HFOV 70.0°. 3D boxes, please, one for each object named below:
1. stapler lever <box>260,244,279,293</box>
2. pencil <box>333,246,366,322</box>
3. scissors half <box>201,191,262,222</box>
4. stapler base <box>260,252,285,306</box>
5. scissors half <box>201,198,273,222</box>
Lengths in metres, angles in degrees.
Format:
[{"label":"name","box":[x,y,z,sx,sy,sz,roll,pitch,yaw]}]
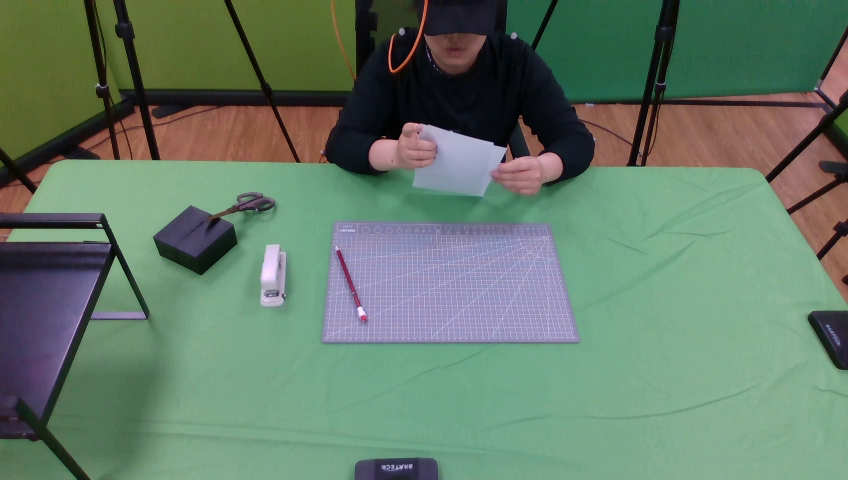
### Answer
[{"label":"stapler lever","box":[-0.279,0.045,1.096,0.027,0.040,0.117,-2,44,-9]},{"label":"pencil","box":[-0.140,0.077,1.116,0.012,0.012,0.192,-14,48,-17]},{"label":"scissors half","box":[-0.381,-0.066,1.198,0.040,0.013,0.175,24,28,10]},{"label":"stapler base","box":[-0.279,0.064,1.113,0.041,0.024,0.129,-2,44,-9]},{"label":"scissors half","box":[-0.364,-0.056,1.192,0.040,0.013,0.175,38,32,23]}]
